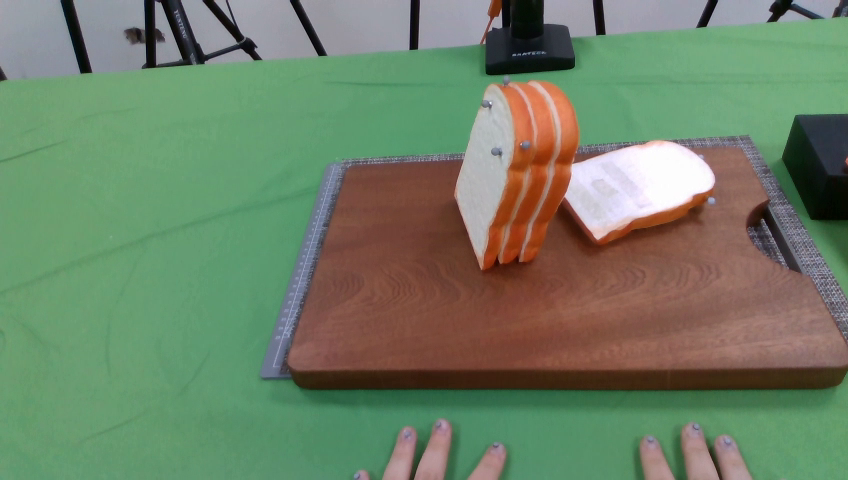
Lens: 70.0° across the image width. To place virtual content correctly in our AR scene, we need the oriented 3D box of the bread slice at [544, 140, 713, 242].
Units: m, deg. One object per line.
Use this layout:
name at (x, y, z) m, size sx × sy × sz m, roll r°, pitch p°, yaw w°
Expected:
bread slice at (0.189, -0.049, 0.549) m, size 0.131 × 0.019 × 0.103 m, roll -18°, pitch 41°, yaw -4°

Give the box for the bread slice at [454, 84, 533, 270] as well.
bread slice at (0.056, -0.060, 0.507) m, size 0.018 × 0.135 × 0.106 m, roll 0°, pitch 39°, yaw -15°

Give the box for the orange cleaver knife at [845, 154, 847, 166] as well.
orange cleaver knife at (0.387, 0.002, 0.472) m, size 0.077 × 0.012 × 0.209 m, roll 5°, pitch 59°, yaw 10°
